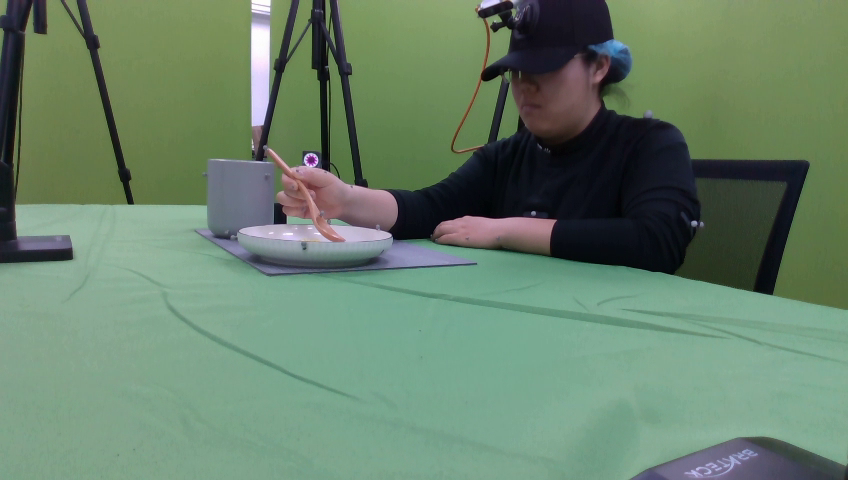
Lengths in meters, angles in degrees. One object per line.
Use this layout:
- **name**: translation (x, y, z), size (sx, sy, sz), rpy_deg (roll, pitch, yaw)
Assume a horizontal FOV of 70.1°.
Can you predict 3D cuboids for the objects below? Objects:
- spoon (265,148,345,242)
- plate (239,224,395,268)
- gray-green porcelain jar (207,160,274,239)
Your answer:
- **spoon**: translation (-0.169, -0.064, 0.845), size (0.193, 0.021, 0.042), rpy_deg (54, 17, 21)
- **plate**: translation (-0.144, 0.007, 0.823), size (0.208, 0.039, 0.207), rpy_deg (3, 7, 0)
- **gray-green porcelain jar**: translation (-0.304, -0.068, 1.003), size (0.106, 0.126, 0.106), rpy_deg (3, 7, 0)
